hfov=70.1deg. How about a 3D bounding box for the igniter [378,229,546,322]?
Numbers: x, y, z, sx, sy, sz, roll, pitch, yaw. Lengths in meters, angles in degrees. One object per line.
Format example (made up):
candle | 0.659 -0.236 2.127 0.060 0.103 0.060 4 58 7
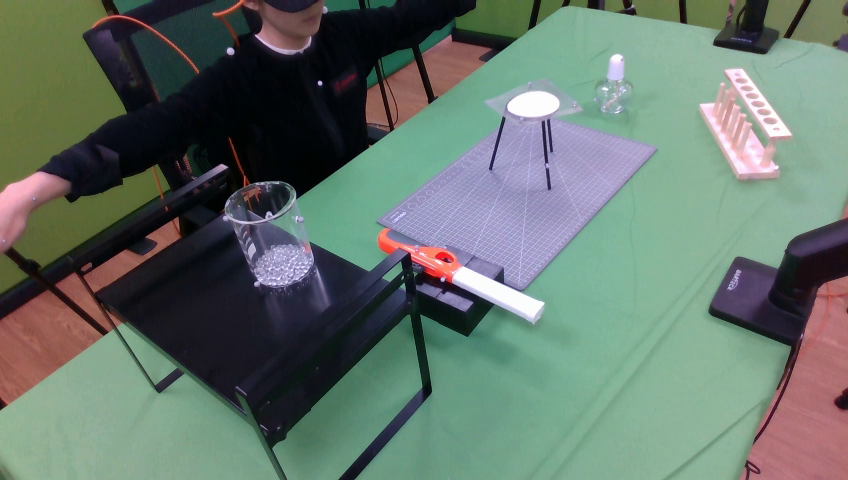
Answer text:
igniter | 0.041 0.043 0.843 0.274 0.025 0.057 24 47 29

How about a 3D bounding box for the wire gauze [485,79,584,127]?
wire gauze | 0.185 -0.232 1.023 0.125 0.011 0.120 -20 42 -12

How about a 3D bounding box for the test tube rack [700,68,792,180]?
test tube rack | 0.572 -0.215 1.090 0.066 0.085 0.241 -3 41 7

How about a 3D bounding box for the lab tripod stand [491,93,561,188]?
lab tripod stand | 0.189 -0.180 1.066 0.148 0.132 0.147 -5 42 5

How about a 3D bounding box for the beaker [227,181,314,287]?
beaker | -0.166 -0.006 0.670 0.074 0.101 0.083 -8 40 0

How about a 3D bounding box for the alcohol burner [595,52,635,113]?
alcohol burner | 0.386 -0.319 1.217 0.078 0.119 0.077 -5 39 4

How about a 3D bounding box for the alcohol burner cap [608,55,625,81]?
alcohol burner cap | 0.383 -0.343 1.198 0.034 0.048 0.033 -5 40 5
